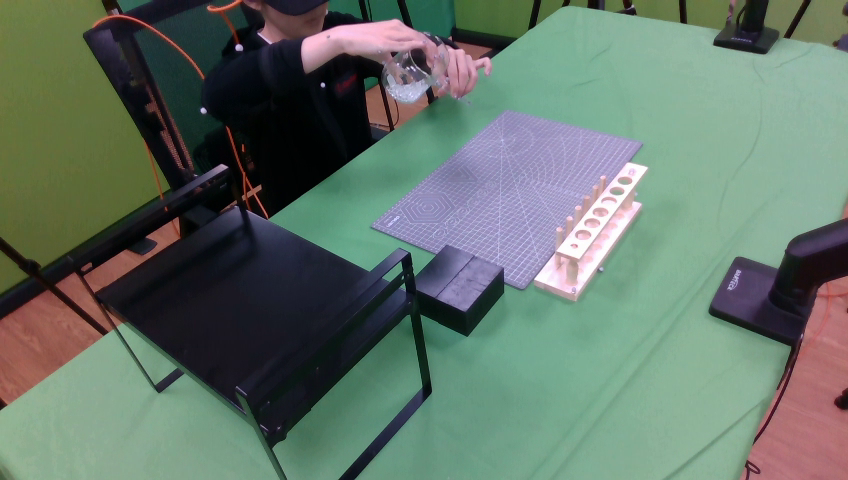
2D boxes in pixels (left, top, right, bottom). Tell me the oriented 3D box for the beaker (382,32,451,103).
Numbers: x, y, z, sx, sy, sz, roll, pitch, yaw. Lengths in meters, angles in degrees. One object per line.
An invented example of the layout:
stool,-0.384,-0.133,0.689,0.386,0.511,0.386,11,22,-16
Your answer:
beaker,-0.012,-0.264,0.943,0.073,0.084,0.100,10,46,29

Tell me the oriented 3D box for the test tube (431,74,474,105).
test tube,0.052,-0.262,1.060,0.017,0.017,0.151,19,6,28

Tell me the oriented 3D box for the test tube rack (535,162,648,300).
test tube rack,0.257,-0.024,0.916,0.066,0.085,0.243,22,49,30
